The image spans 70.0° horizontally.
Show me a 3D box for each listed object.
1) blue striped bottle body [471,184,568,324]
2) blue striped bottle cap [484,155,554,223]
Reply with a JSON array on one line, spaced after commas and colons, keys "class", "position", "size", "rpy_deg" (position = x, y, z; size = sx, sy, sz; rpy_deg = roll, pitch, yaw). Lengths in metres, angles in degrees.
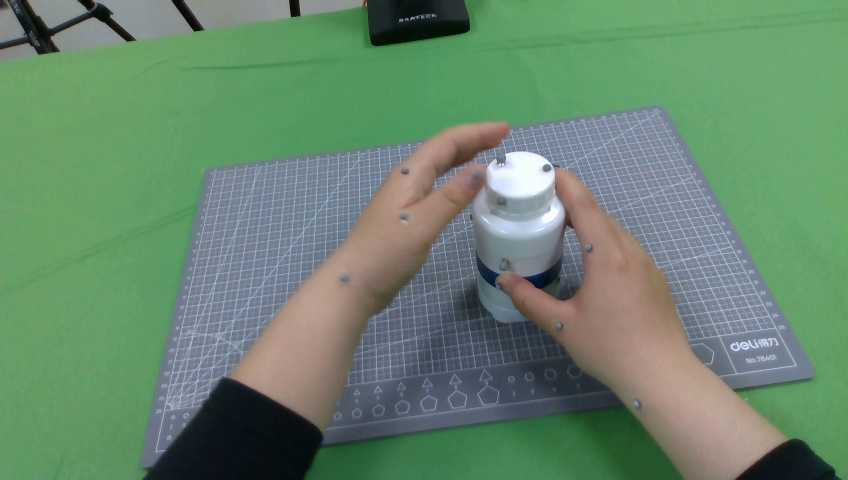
[{"class": "blue striped bottle body", "position": [0.065, 0.000, 0.418], "size": [0.063, 0.122, 0.062], "rpy_deg": [-3, 49, 4]}, {"class": "blue striped bottle cap", "position": [0.060, -0.033, 0.380], "size": [0.044, 0.021, 0.044], "rpy_deg": [-4, 46, 4]}]
